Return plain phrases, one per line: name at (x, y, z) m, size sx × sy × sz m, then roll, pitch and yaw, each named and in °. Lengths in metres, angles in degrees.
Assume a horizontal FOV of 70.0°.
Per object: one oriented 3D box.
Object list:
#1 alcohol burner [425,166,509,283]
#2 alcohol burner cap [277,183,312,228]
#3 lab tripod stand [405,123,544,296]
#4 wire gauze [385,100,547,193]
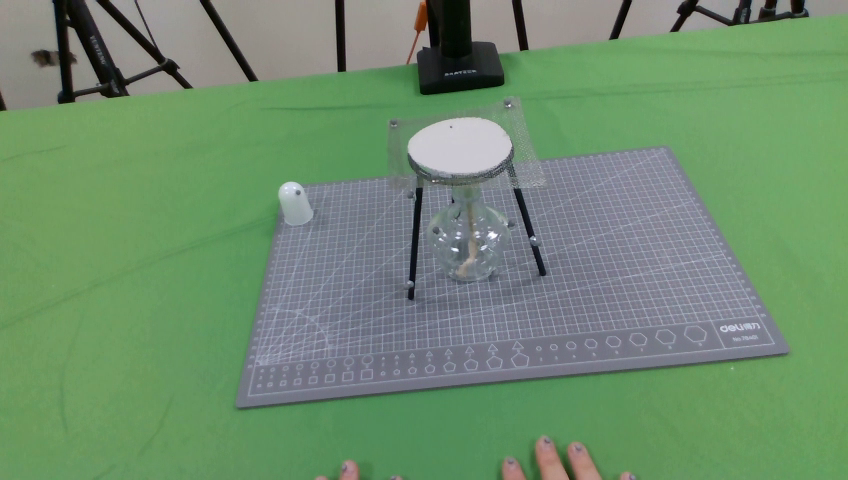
alcohol burner at (0.039, -0.018, 0.553) m, size 0.078 × 0.120 × 0.077 m, roll -3°, pitch 42°, yaw 3°
alcohol burner cap at (-0.142, -0.041, 0.656) m, size 0.034 × 0.048 × 0.033 m, roll -3°, pitch 44°, yaw 4°
lab tripod stand at (0.039, -0.028, 0.549) m, size 0.148 × 0.133 × 0.147 m, roll -3°, pitch 41°, yaw 3°
wire gauze at (0.029, -0.077, 0.503) m, size 0.125 × 0.011 × 0.120 m, roll -5°, pitch 42°, yaw 0°
